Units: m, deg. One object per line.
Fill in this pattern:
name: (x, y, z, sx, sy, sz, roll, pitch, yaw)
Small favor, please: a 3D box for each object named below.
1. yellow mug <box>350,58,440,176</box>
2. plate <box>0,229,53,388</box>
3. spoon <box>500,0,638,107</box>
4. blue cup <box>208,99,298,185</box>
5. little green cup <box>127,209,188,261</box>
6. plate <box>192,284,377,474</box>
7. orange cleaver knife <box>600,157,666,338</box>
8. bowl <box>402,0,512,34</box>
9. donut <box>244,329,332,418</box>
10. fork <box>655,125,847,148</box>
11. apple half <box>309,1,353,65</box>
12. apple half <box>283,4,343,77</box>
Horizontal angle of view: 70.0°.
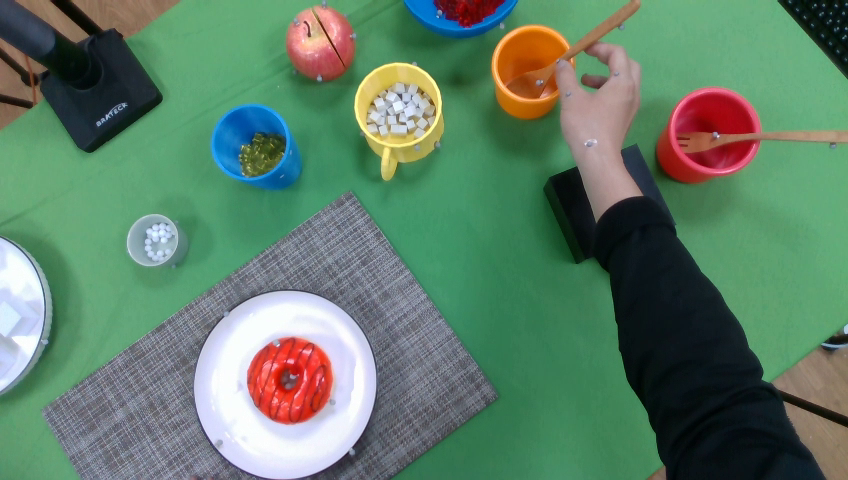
yellow mug: (-0.035, -0.138, 0.708, 0.100, 0.064, 0.130, 12, 84, 4)
plate: (-0.538, 0.085, 0.721, 0.207, 0.039, 0.207, 0, 83, 3)
spoon: (0.151, -0.202, 0.659, 0.022, 0.193, 0.041, -19, 83, -38)
blue cup: (-0.186, -0.103, 0.694, 0.092, 0.100, 0.092, 0, 84, 2)
little green cup: (-0.314, -0.003, 0.720, 0.061, 0.039, 0.061, 0, 82, 4)
plate: (-0.155, 0.154, 0.688, 0.209, 0.038, 0.208, 0, 83, 3)
orange cleaver knife: (0.229, 0.010, 0.667, 0.012, 0.076, 0.213, -21, 111, 3)
bowl: (0.040, -0.306, 0.720, 0.151, 0.077, 0.151, 0, 83, 3)
donut: (-0.152, 0.149, 0.677, 0.099, 0.048, 0.099, 0, 84, 4)
fork: (0.348, -0.113, 0.645, 0.206, 0.019, 0.028, 7, 66, 46)
apple half: (-0.103, -0.250, 0.722, 0.033, 0.081, 0.081, -30, 81, -1)
apple half: (-0.138, -0.230, 0.722, 0.053, 0.075, 0.080, -30, 85, 2)
